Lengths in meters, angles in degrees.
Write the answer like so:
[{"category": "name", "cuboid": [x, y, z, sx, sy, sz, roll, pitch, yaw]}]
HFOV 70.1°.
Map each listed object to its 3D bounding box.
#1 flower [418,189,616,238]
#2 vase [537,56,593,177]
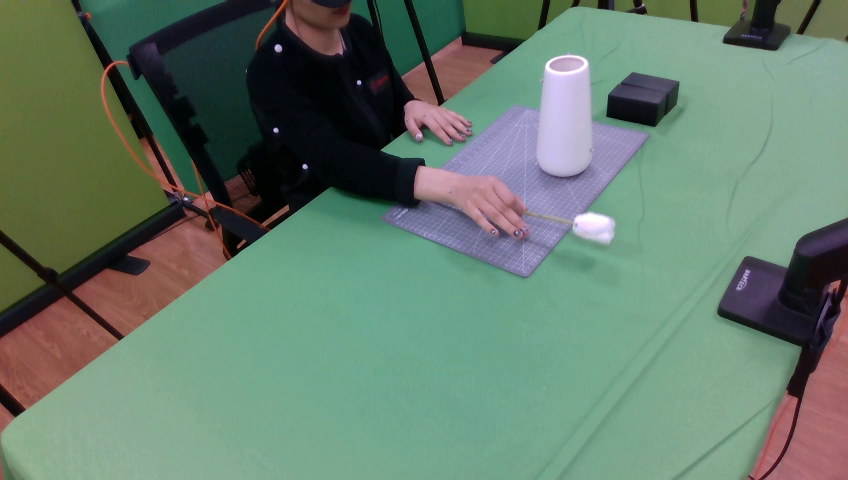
[{"category": "flower", "cuboid": [0.134, -0.054, 0.980, 0.359, 0.044, 0.038, 13, 58, 35]}, {"category": "vase", "cuboid": [0.245, -0.209, 1.040, 0.098, 0.201, 0.097, -4, 40, 4]}]
